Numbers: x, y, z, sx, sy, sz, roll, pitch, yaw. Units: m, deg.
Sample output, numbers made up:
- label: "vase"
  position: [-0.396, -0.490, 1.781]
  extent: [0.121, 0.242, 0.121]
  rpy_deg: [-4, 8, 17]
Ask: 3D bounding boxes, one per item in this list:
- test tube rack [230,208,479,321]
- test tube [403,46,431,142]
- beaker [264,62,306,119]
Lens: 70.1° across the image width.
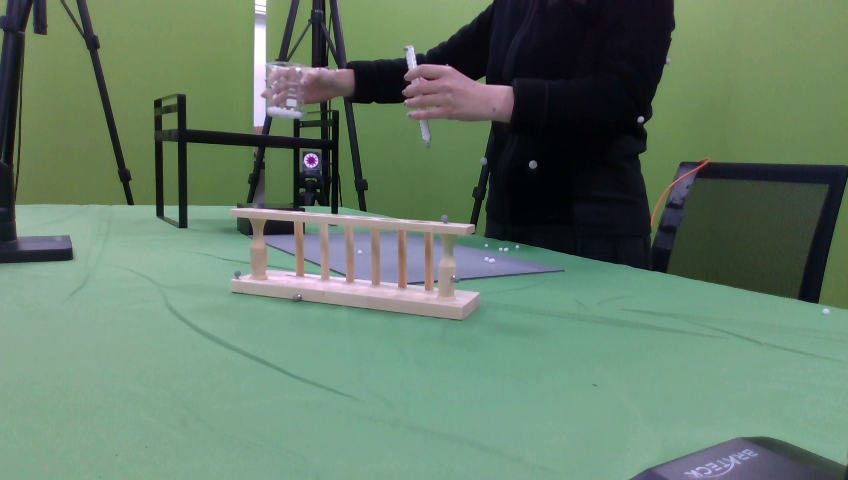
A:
- label: "test tube rack"
  position: [-0.069, 0.017, 0.598]
  extent: [0.242, 0.085, 0.067]
  rpy_deg: [5, 8, 18]
- label: "test tube"
  position: [-0.010, -0.226, 0.939]
  extent: [0.017, 0.150, 0.017]
  rpy_deg: [-11, 2, 1]
- label: "beaker"
  position: [-0.272, -0.288, 1.171]
  extent: [0.084, 0.100, 0.073]
  rpy_deg: [-4, 10, -44]
